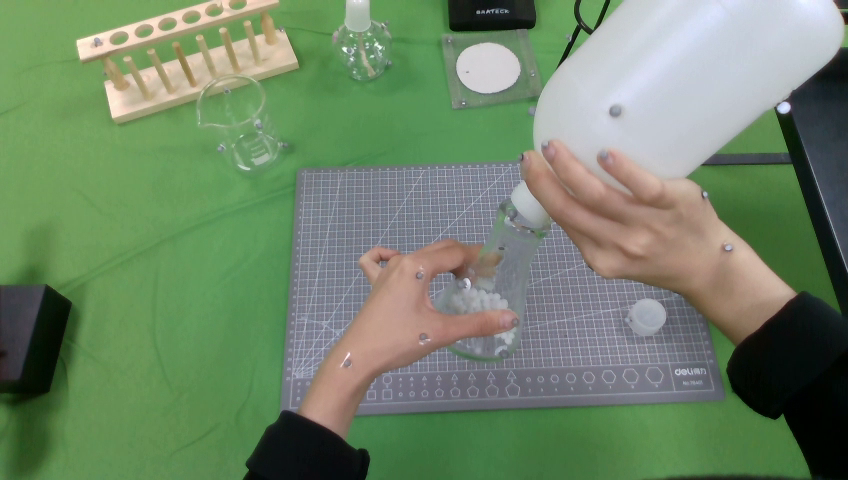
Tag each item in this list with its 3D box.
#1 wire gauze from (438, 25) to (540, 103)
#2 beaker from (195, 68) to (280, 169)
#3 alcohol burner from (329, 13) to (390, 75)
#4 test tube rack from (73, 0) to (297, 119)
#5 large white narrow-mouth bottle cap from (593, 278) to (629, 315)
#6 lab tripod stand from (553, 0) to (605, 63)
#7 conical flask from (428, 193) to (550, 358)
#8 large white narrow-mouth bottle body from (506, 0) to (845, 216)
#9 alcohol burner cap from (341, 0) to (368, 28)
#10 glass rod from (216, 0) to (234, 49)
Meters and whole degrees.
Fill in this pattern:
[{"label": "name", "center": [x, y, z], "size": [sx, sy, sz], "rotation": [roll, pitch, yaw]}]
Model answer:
[{"label": "wire gauze", "center": [0.086, -0.239, 0.807], "size": [0.121, 0.011, 0.124], "rotation": [-6, 64, -4]}, {"label": "beaker", "center": [-0.215, -0.135, 0.707], "size": [0.084, 0.101, 0.073], "rotation": [-42, 70, -18]}, {"label": "alcohol burner", "center": [-0.083, -0.267, 0.763], "size": [0.078, 0.120, 0.077], "rotation": [0, 62, 0]}, {"label": "test tube rack", "center": [-0.294, -0.240, 0.766], "size": [0.242, 0.086, 0.066], "rotation": [-20, 66, -10]}, {"label": "large white narrow-mouth bottle cap", "center": [0.201, 0.061, 0.654], "size": [0.038, 0.024, 0.037], "rotation": [-1, 63, 2]}, {"label": "lab tripod stand", "center": [0.214, -0.233, 0.734], "size": [0.148, 0.132, 0.147], "rotation": [1, 63, -1]}, {"label": "conical flask", "center": [0.052, 0.023, 0.444], "size": [0.075, 0.122, 0.074], "rotation": [12, 39, -9]}, {"label": "large white narrow-mouth bottle body", "center": [0.127, -0.084, 0.361], "size": [0.195, 0.102, 0.101], "rotation": [-43, 63, 28]}, {"label": "alcohol burner cap", "center": [-0.083, -0.285, 0.731], "size": [0.034, 0.048, 0.033], "rotation": [4, 62, -7]}, {"label": "glass rod", "center": [-0.248, -0.302, 0.722], "size": [0.008, 0.201, 0.008], "rotation": [2, 62, -4]}]
